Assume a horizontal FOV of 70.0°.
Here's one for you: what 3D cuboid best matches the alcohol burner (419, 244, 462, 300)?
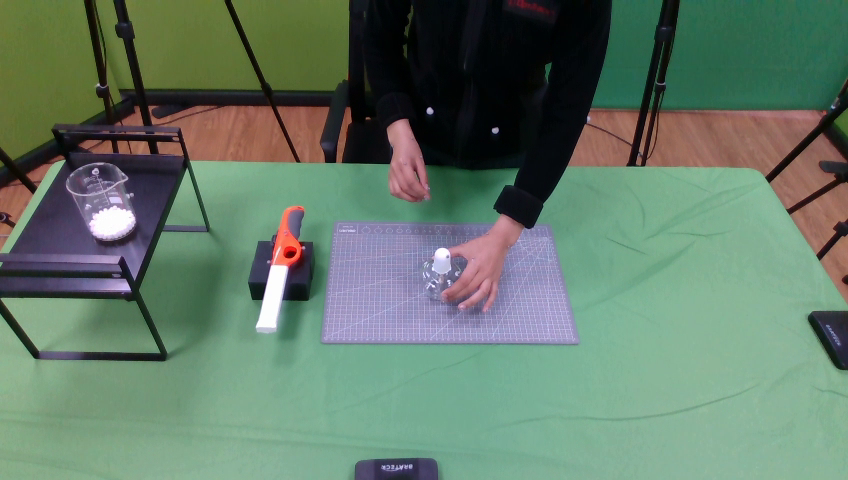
[{"bbox_3d":[0.030,0.052,1.074,0.078,0.120,0.077,0,49,0],"label":"alcohol burner"}]

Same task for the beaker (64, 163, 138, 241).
[{"bbox_3d":[-0.477,-0.055,0.910,0.084,0.101,0.073,-9,48,-13],"label":"beaker"}]

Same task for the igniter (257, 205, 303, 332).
[{"bbox_3d":[-0.252,0.040,1.070,0.057,0.025,0.275,3,49,-2],"label":"igniter"}]

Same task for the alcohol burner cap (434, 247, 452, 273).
[{"bbox_3d":[0.032,0.032,1.051,0.034,0.048,0.033,-1,51,1],"label":"alcohol burner cap"}]
